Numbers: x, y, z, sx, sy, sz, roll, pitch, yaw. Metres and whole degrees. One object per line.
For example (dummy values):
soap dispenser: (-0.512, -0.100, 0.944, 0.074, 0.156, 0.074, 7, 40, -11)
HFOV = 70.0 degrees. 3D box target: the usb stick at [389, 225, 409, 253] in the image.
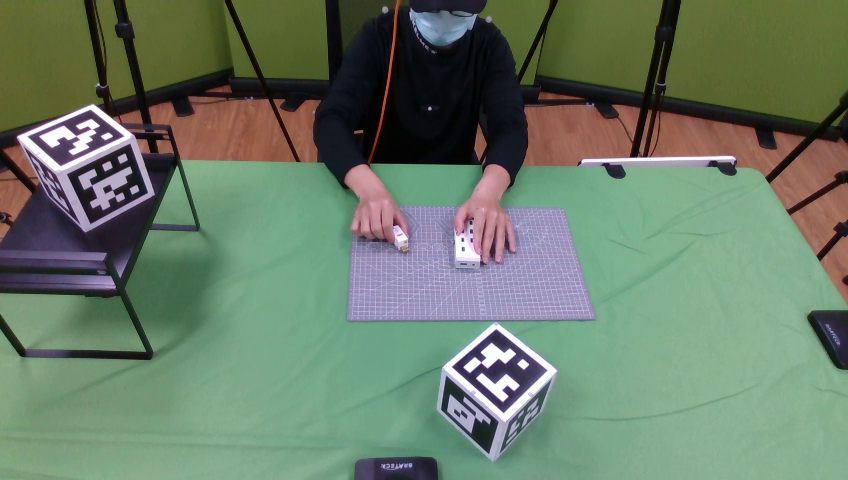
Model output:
usb stick: (-0.048, 0.000, 1.187, 0.021, 0.027, 0.059, -20, 54, -20)

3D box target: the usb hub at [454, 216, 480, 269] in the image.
usb hub: (0.085, 0.004, 1.196, 0.049, 0.025, 0.124, 5, 45, -2)
